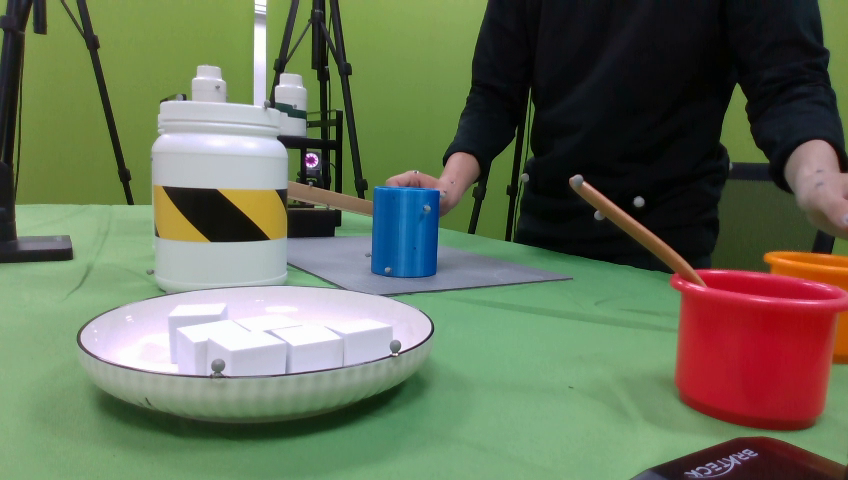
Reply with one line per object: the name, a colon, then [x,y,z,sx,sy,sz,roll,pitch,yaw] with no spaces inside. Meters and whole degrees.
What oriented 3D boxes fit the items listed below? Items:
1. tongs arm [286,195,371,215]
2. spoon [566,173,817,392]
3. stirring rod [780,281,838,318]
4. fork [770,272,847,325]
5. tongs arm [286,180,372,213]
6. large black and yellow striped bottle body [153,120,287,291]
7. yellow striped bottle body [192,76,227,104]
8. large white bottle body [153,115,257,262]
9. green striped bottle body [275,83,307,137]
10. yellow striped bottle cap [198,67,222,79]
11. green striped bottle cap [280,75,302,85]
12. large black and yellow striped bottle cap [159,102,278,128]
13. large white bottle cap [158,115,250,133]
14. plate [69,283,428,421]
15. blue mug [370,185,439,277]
tongs arm: [-0.165,-0.075,1.216,0.389,0.027,0.028,11,-6,-24]
spoon: [0.161,0.024,0.370,0.193,0.021,0.042,47,17,3]
stirring rod: [0.344,0.019,0.461,0.014,0.006,0.176,-14,-26,-31]
fork: [0.331,0.018,0.443,0.028,0.018,0.207,-1,-36,-16]
tongs arm: [-0.122,-0.066,1.147,0.387,0.026,0.050,11,-2,-37]
large black and yellow striped bottle body: [-0.208,-0.042,0.626,0.131,0.184,0.130,2,7,0]
yellow striped bottle body: [-0.414,-0.268,1.169,0.063,0.120,0.063,2,7,0]
large white bottle body: [-0.293,-0.070,0.813,0.131,0.184,0.130,2,7,0]
green striped bottle body: [-0.269,-0.269,1.221,0.063,0.119,0.063,2,7,0]
yellow striped bottle cap: [-0.412,-0.320,1.162,0.044,0.018,0.044,1,5,0]
green striped bottle cap: [-0.267,-0.320,1.216,0.044,0.020,0.044,2,8,0]
large black and yellow striped bottle cap: [-0.207,-0.125,0.615,0.115,0.019,0.115,2,6,0]
large white bottle cap: [-0.291,-0.153,0.803,0.115,0.018,0.115,1,7,0]
plate: [-0.102,0.066,0.381,0.208,0.039,0.207,2,7,0]
blue mug: [-0.024,-0.016,0.761,0.082,0.106,0.116,2,7,-2]
